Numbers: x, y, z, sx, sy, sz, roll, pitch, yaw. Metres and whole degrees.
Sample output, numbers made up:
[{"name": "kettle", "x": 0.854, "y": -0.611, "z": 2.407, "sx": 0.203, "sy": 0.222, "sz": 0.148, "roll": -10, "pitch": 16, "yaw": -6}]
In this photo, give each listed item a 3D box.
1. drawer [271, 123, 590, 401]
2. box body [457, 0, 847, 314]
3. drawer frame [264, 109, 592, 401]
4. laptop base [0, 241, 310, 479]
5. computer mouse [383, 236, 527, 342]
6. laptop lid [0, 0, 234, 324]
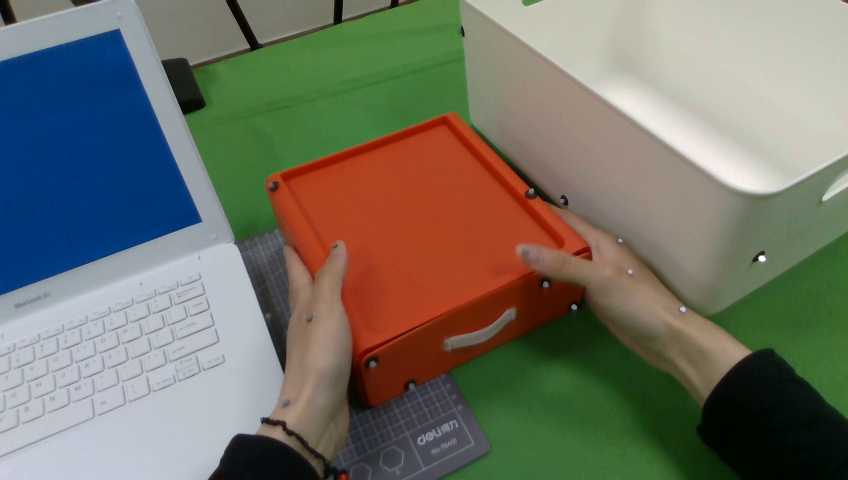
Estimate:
[{"name": "drawer", "x": -0.002, "y": 0.003, "z": 0.521, "sx": 0.195, "sy": 0.074, "sz": 0.209, "roll": -23, "pitch": 50, "yaw": -17}, {"name": "box body", "x": 0.225, "y": -0.133, "z": 0.567, "sx": 0.254, "sy": 0.162, "sz": 0.360, "roll": -26, "pitch": 51, "yaw": -17}, {"name": "drawer frame", "x": -0.005, "y": -0.001, "z": 0.522, "sx": 0.202, "sy": 0.083, "sz": 0.211, "roll": -24, "pitch": 50, "yaw": -17}, {"name": "laptop base", "x": -0.286, "y": 0.143, "z": 0.467, "sx": 0.355, "sy": 0.023, "sz": 0.233, "roll": -22, "pitch": 53, "yaw": -14}, {"name": "computer mouse", "x": 0.023, "y": 0.038, "z": 0.499, "sx": 0.117, "sy": 0.041, "sz": 0.062, "roll": -20, "pitch": 54, "yaw": -3}, {"name": "laptop lid", "x": -0.369, "y": -0.038, "z": 0.499, "sx": 0.357, "sy": 0.243, "sz": 0.013, "roll": -24, "pitch": 21, "yaw": -14}]
